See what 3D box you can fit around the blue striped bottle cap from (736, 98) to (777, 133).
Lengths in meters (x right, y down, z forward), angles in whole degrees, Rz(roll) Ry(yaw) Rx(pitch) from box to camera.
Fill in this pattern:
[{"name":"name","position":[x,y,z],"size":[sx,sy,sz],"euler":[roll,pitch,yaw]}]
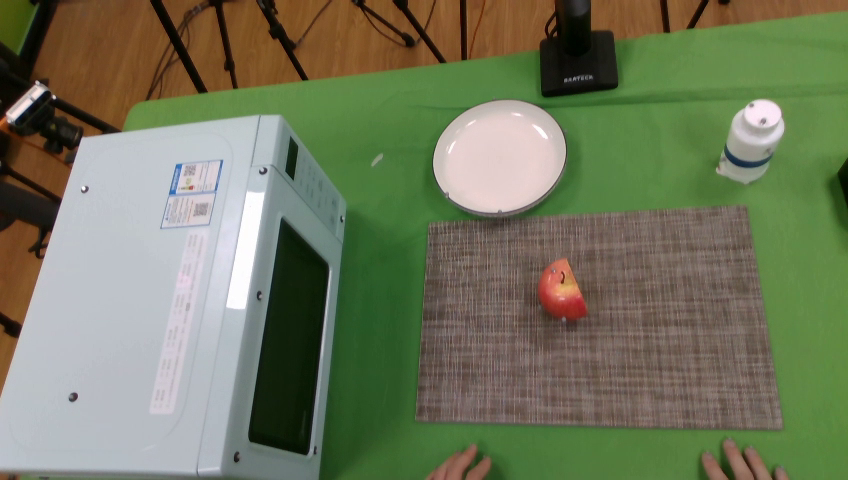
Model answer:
[{"name":"blue striped bottle cap","position":[0.420,-0.157,0.764],"size":[0.044,0.021,0.044],"euler":[-5,67,13]}]

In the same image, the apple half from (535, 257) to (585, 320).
[{"name":"apple half","position":[0.176,0.070,0.805],"size":[0.053,0.075,0.080],"euler":[-22,66,8]}]

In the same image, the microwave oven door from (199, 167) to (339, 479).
[{"name":"microwave oven door","position":[-0.179,0.120,0.765],"size":[0.039,0.246,0.353],"euler":[-5,65,13]}]

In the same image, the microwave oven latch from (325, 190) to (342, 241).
[{"name":"microwave oven latch","position":[-0.146,-0.037,0.943],"size":[0.030,0.030,0.078],"euler":[-4,66,13]}]

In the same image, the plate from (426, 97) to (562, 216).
[{"name":"plate","position":[0.109,-0.126,0.938],"size":[0.207,0.039,0.206],"euler":[-5,65,12]}]

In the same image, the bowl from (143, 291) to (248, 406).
[{"name":"bowl","position":[-0.296,0.151,0.831],"size":[0.151,0.077,0.150],"euler":[-5,74,19]}]

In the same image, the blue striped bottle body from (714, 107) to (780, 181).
[{"name":"blue striped bottle body","position":[0.432,-0.134,0.808],"size":[0.063,0.122,0.062],"euler":[-6,64,13]}]

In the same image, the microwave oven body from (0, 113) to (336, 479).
[{"name":"microwave oven body","position":[-0.318,0.095,0.819],"size":[0.325,0.262,0.438],"euler":[-4,66,12]}]

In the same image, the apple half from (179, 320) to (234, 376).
[{"name":"apple half","position":[-0.299,0.147,0.821],"size":[0.081,0.033,0.081],"euler":[-2,80,9]}]
